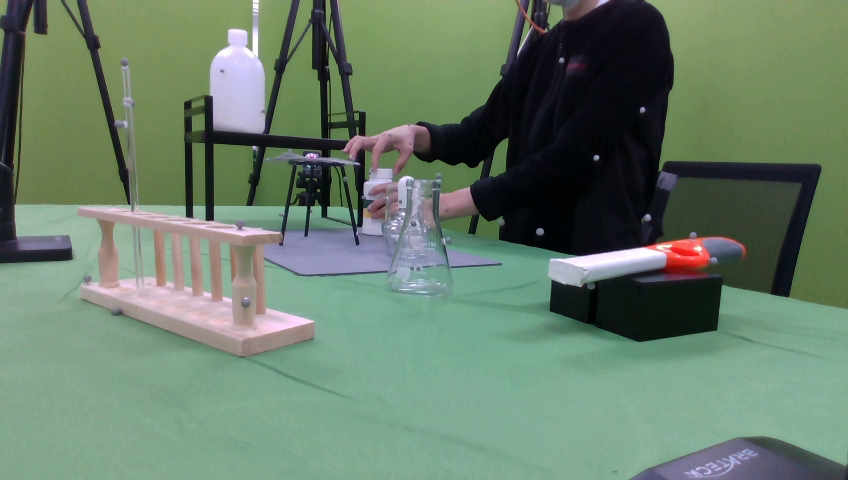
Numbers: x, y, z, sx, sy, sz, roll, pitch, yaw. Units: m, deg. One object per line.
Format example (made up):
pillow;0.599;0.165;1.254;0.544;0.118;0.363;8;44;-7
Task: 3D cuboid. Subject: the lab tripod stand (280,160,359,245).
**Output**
lab tripod stand;-0.176;-0.062;0.973;0.148;0.131;0.148;1;7;0

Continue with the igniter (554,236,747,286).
igniter;0.221;0.017;0.558;0.278;0.025;0.057;-5;15;-39

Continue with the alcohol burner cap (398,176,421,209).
alcohol burner cap;-0.023;-0.068;0.866;0.034;0.048;0.034;-5;8;1

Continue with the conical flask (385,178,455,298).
conical flask;-0.002;-0.004;0.639;0.075;0.122;0.075;2;7;0

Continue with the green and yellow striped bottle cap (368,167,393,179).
green and yellow striped bottle cap;-0.080;-0.123;1.111;0.045;0.020;0.045;3;8;0

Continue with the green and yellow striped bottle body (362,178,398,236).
green and yellow striped bottle body;-0.081;-0.069;1.118;0.063;0.119;0.063;4;7;0

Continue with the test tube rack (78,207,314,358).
test tube rack;-0.197;0.024;0.499;0.241;0.085;0.067;8;8;37

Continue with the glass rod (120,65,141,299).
glass rod;-0.249;-0.047;0.513;0.008;0.199;0.008;-1;4;0

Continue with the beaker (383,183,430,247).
beaker;-0.027;-0.041;0.996;0.074;0.100;0.083;-5;11;-43

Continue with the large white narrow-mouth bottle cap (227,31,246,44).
large white narrow-mouth bottle cap;-0.361;-0.388;1.165;0.038;0.024;0.037;1;7;0

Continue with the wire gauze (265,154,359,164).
wire gauze;-0.181;-0.129;0.969;0.126;0.011;0.121;-1;7;-27

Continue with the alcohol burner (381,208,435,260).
alcohol burner;-0.023;-0.032;0.871;0.078;0.119;0.078;0;6;0

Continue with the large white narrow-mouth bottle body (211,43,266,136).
large white narrow-mouth bottle body;-0.361;-0.302;1.176;0.102;0.194;0.102;1;7;0
